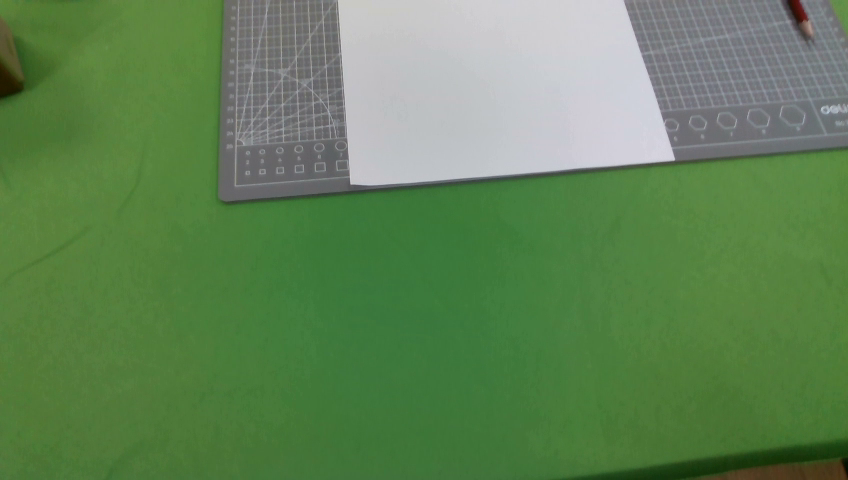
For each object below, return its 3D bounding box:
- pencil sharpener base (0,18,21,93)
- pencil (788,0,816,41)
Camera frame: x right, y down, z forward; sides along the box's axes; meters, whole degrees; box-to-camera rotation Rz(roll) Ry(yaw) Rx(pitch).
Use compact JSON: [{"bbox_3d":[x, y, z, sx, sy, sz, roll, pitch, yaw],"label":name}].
[{"bbox_3d":[-0.313,-0.133,0.363,0.077,0.108,0.061,-25,69,-11],"label":"pencil sharpener base"},{"bbox_3d":[0.269,-0.231,0.473,0.012,0.012,0.192,-7,67,-4],"label":"pencil"}]
